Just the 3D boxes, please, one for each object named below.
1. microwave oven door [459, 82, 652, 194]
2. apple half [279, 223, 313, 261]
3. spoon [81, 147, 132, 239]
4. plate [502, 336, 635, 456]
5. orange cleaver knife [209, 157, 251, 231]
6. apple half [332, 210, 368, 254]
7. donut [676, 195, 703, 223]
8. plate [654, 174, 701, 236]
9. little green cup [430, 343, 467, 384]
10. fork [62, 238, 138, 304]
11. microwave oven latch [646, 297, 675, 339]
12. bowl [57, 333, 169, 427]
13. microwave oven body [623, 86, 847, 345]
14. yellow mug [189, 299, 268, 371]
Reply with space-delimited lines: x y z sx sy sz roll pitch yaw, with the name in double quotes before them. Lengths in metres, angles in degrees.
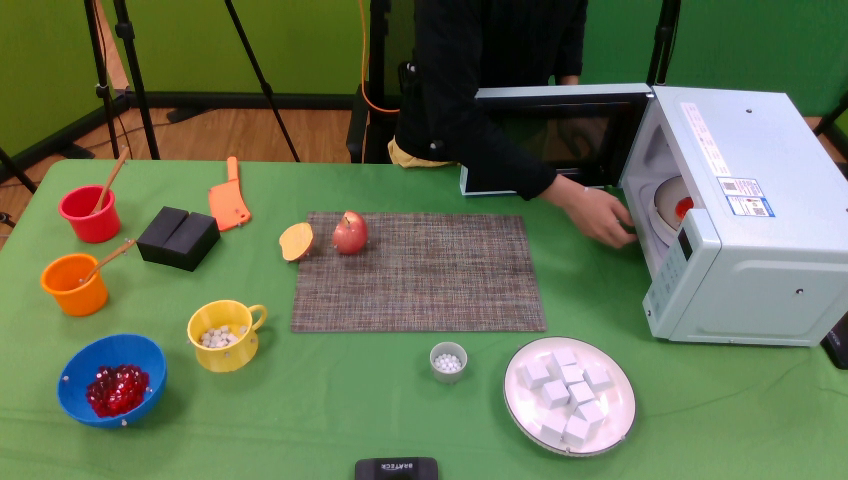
"microwave oven door" 0.259 -0.204 1.236 0.356 0.245 0.039 -4 46 -7
"apple half" -0.237 0.007 1.157 0.081 0.033 0.081 -13 59 23
"spoon" -0.603 -0.089 1.156 0.041 0.022 0.193 28 95 21
"plate" 0.225 0.248 0.964 0.208 0.039 0.206 2 46 -2
"orange cleaver knife" -0.409 -0.099 1.266 0.077 0.012 0.210 -14 50 -10
"apple half" -0.136 -0.010 1.158 0.053 0.075 0.080 17 43 8
"donut" 0.538 -0.049 1.171 0.099 0.048 0.098 2 44 -2
"plate" 0.554 -0.048 1.188 0.209 0.038 0.208 2 47 -2
"little green cup" 0.039 0.203 0.994 0.061 0.039 0.061 2 46 -2
"fork" -0.547 0.053 1.019 0.207 0.019 0.028 -36 41 23
"microwave oven latch" 0.412 0.134 1.061 0.030 0.029 0.078 4 45 1
"bowl" -0.456 0.223 0.912 0.151 0.077 0.150 3 45 -2
"microwave oven body" 0.567 -0.053 1.118 0.326 0.261 0.439 2 45 -1
"yellow mug" -0.316 0.148 1.002 0.131 0.064 0.099 -33 56 -31
